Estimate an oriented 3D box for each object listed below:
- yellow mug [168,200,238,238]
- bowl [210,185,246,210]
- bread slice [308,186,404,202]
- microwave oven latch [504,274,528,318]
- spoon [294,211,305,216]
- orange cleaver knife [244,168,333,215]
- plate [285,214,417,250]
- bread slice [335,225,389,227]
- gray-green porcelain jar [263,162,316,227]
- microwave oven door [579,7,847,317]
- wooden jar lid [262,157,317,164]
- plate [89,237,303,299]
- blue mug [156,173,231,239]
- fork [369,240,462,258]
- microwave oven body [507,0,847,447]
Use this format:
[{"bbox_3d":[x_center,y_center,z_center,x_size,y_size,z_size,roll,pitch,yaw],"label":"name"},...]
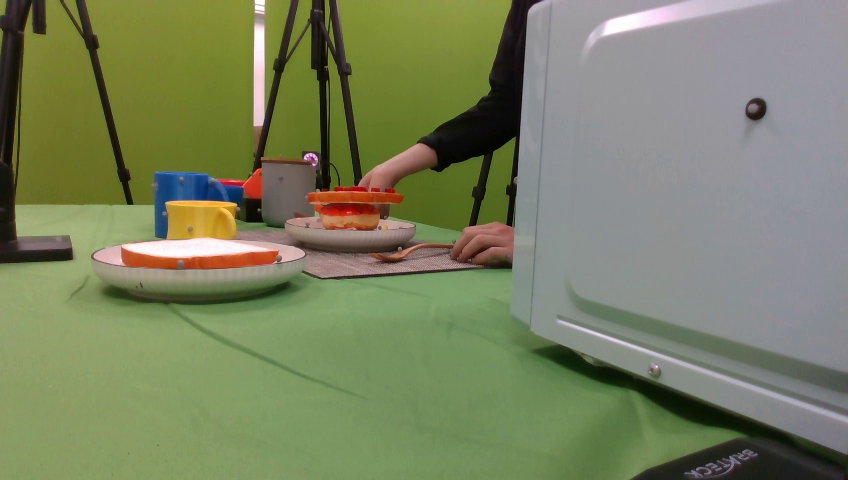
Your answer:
[{"bbox_3d":[-0.319,-0.023,0.904,0.130,0.064,0.100,9,11,36],"label":"yellow mug"},{"bbox_3d":[-0.422,-0.067,1.166,0.151,0.077,0.151,2,7,0],"label":"bowl"},{"bbox_3d":[-0.114,-0.071,0.952,0.134,0.018,0.107,-1,1,21],"label":"bread slice"},{"bbox_3d":[0.100,0.041,0.471,0.079,0.029,0.030,-1,8,-28],"label":"microwave oven latch"},{"bbox_3d":[-0.150,-0.037,1.121,0.195,0.021,0.041,2,-3,-37],"label":"spoon"},{"bbox_3d":[-0.300,-0.089,1.351,0.212,0.077,0.012,28,-9,-34],"label":"orange cleaver knife"},{"bbox_3d":[-0.116,-0.014,0.964,0.209,0.038,0.209,2,8,0],"label":"plate"},{"bbox_3d":[-0.103,-0.010,0.962,0.131,0.019,0.105,3,9,25],"label":"bread slice"},{"bbox_3d":[-0.271,-0.092,1.217,0.106,0.126,0.106,2,7,0],"label":"gray-green porcelain jar"},{"bbox_3d":[0.294,-0.067,0.570,0.358,0.243,0.039,-3,9,-31],"label":"microwave oven door"},{"bbox_3d":[-0.269,-0.154,1.208,0.108,0.020,0.108,3,4,0],"label":"wooden jar lid"},{"bbox_3d":[-0.233,0.029,0.636,0.208,0.039,0.207,2,7,0],"label":"plate"},{"bbox_3d":[-0.381,-0.057,1.004,0.117,0.106,0.082,1,8,-12],"label":"blue mug"},{"bbox_3d":[-0.005,0.011,0.874,0.028,0.018,0.208,-1,6,37],"label":"fork"},{"bbox_3d":[0.331,-0.042,0.425,0.444,0.260,0.324,-2,8,-31],"label":"microwave oven body"}]
